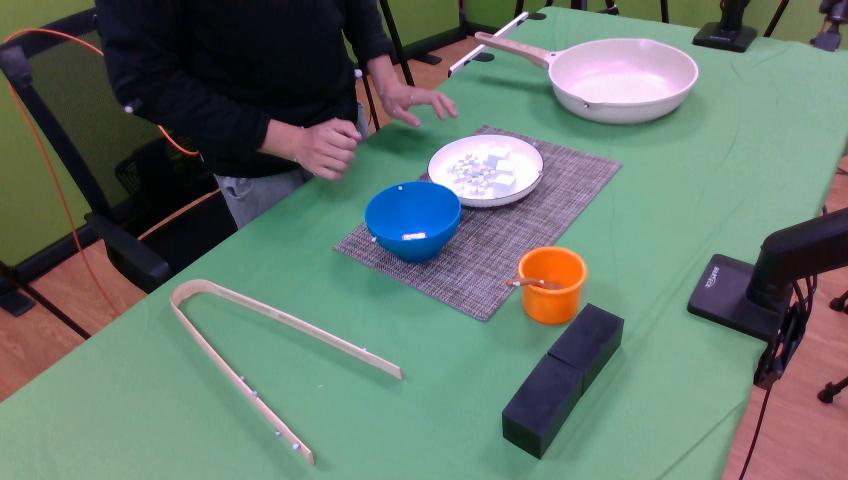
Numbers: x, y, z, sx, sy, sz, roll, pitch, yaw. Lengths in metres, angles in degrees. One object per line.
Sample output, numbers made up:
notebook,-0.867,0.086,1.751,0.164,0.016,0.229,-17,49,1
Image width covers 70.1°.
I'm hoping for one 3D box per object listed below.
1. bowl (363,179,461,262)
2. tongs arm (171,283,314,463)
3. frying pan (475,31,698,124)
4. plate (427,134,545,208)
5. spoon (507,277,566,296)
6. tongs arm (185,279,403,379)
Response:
bowl,-0.014,-0.020,0.943,0.151,0.077,0.150,-4,41,4
tongs arm,-0.246,0.161,0.806,0.381,0.026,0.051,29,51,36
frying pan,0.320,-0.371,1.290,0.485,0.103,0.307,28,50,23
plate,0.110,-0.119,1.073,0.207,0.039,0.206,-4,40,4
spoon,0.143,0.058,0.783,0.041,0.195,0.021,15,89,29
tongs arm,-0.194,0.120,0.853,0.385,0.028,0.028,17,49,26
